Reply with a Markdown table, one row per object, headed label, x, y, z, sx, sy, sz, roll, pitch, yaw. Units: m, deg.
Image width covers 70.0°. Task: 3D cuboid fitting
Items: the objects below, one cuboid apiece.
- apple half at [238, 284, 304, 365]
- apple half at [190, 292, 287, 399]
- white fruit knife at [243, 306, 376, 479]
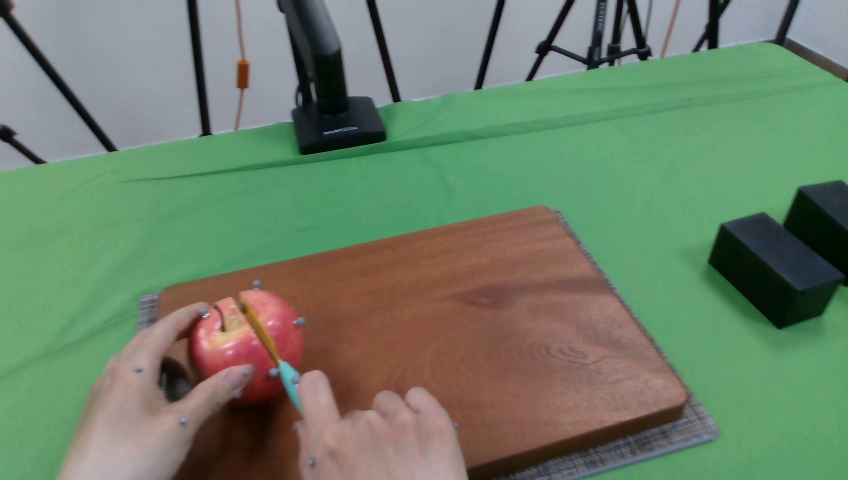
| label | x | y | z | sx | sy | sz | roll | pitch | yaw |
| --- | --- | --- | --- | --- | --- | --- | --- | --- | --- |
| apple half | -0.113 | 0.067 | 0.478 | 0.033 | 0.082 | 0.080 | -29 | 47 | -24 |
| apple half | -0.146 | 0.087 | 0.461 | 0.053 | 0.075 | 0.080 | -35 | 52 | -20 |
| white fruit knife | -0.096 | 0.096 | 0.438 | 0.016 | 0.028 | 0.205 | -28 | 43 | -28 |
